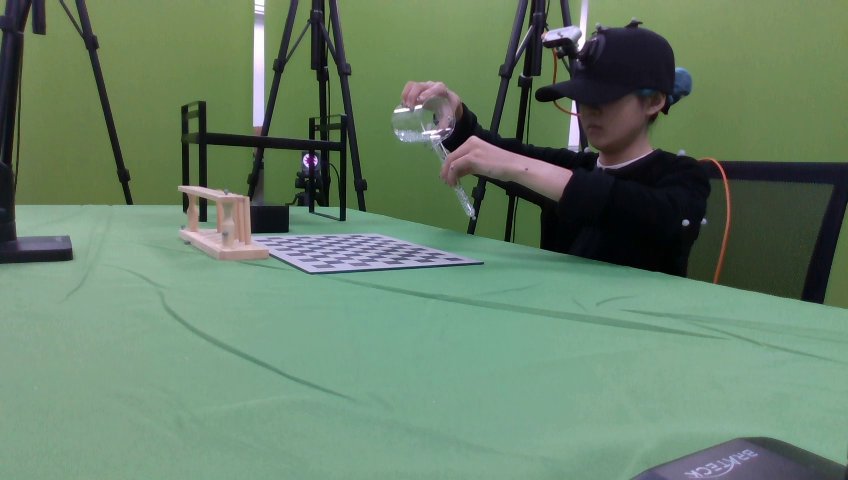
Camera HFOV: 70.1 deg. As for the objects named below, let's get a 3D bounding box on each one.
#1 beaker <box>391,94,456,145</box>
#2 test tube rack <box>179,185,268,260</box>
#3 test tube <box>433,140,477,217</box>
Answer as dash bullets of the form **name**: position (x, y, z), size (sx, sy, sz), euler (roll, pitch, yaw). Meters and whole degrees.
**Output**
- **beaker**: position (-0.004, -0.202, 1.038), size (0.074, 0.084, 0.100), euler (1, 4, -36)
- **test tube rack**: position (-0.303, -0.031, 0.898), size (0.067, 0.085, 0.241), euler (-2, 9, -33)
- **test tube**: position (0.049, -0.100, 0.974), size (0.017, 0.149, 0.017), euler (-20, -23, -9)
